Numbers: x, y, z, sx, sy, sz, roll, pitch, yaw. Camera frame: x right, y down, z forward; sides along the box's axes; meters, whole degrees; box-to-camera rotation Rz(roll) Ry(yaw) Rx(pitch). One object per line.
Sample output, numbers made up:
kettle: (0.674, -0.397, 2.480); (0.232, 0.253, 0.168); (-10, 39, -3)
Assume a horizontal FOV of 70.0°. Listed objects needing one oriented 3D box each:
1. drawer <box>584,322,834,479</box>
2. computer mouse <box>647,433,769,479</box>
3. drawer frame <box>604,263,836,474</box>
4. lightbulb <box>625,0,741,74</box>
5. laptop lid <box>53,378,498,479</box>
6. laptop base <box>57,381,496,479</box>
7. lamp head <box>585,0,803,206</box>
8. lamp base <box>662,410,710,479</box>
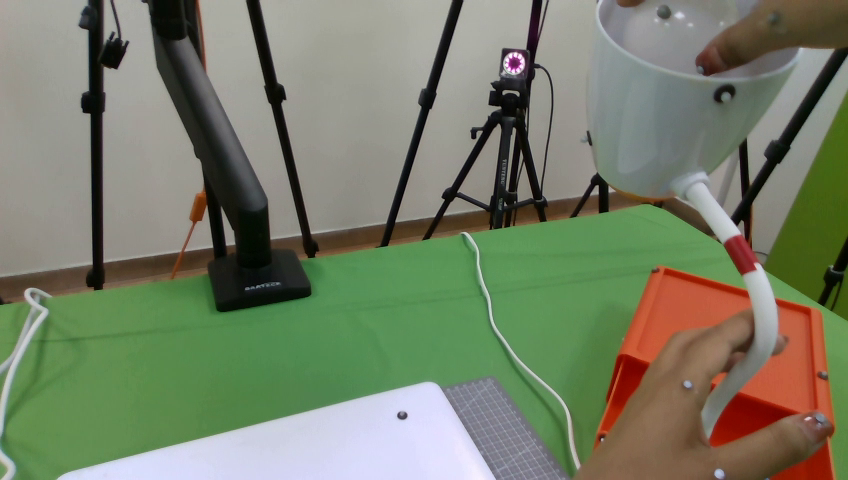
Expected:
drawer: (0.279, 0.176, 0.594); (0.193, 0.074, 0.211); (15, 30, 21)
computer mouse: (0.257, 0.215, 0.549); (0.117, 0.041, 0.062); (16, 30, 13)
drawer frame: (0.329, 0.128, 0.681); (0.200, 0.083, 0.213); (16, 31, 22)
lightbulb: (0.146, -0.102, 0.356); (0.059, 0.109, 0.059); (-4, 52, 6)
laptop lid: (-0.104, 0.227, 0.486); (0.358, 0.013, 0.239); (-8, 33, -21)
laptop base: (-0.106, 0.236, 0.493); (0.356, 0.023, 0.233); (-9, 35, -22)
lamp head: (0.151, -0.082, 0.372); (0.112, 0.124, 0.111); (-1, 44, 1)
lamp base: (0.173, 0.216, 0.396); (0.161, 0.181, 0.177); (1, 27, -8)
